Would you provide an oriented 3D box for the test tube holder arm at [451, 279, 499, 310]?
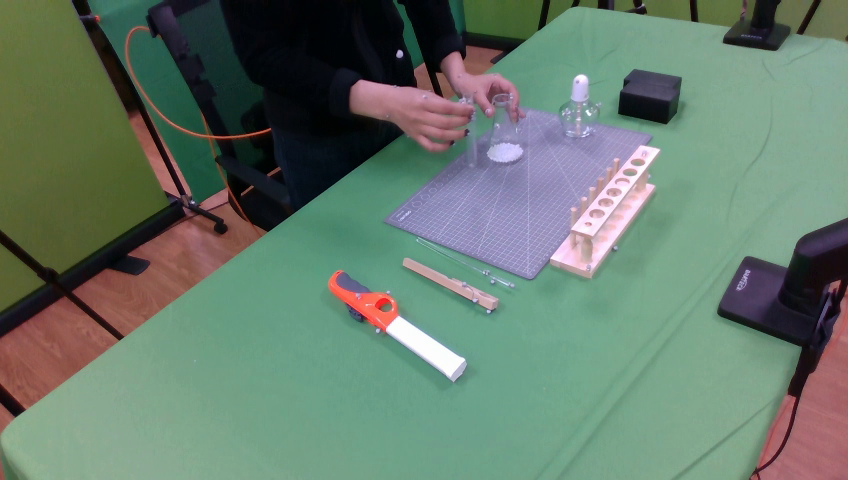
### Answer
[{"bbox_3d":[0.071,0.079,0.882,0.087,0.015,0.010,24,13,34],"label":"test tube holder arm"}]

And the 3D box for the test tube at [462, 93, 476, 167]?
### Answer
[{"bbox_3d":[0.074,-0.175,0.983,0.017,0.151,0.017,-4,51,6],"label":"test tube"}]

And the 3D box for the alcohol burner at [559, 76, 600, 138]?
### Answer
[{"bbox_3d":[0.298,-0.258,1.156,0.078,0.119,0.077,-4,39,4],"label":"alcohol burner"}]

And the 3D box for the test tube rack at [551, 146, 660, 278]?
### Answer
[{"bbox_3d":[0.286,-0.053,0.944,0.066,0.085,0.243,21,49,32],"label":"test tube rack"}]

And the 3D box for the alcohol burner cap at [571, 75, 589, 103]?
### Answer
[{"bbox_3d":[0.294,-0.285,1.132,0.034,0.048,0.033,-5,46,5],"label":"alcohol burner cap"}]

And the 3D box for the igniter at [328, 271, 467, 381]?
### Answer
[{"bbox_3d":[-0.049,0.114,0.854,0.274,0.025,0.057,29,63,37],"label":"igniter"}]

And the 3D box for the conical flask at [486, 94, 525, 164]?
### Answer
[{"bbox_3d":[0.148,-0.208,1.119,0.075,0.122,0.075,-6,40,5],"label":"conical flask"}]

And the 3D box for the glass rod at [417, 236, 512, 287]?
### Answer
[{"bbox_3d":[0.059,0.032,0.945,0.198,0.008,0.008,27,52,38],"label":"glass rod"}]

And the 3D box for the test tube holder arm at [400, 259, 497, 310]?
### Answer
[{"bbox_3d":[0.033,0.064,0.902,0.177,0.015,0.013,23,13,32],"label":"test tube holder arm"}]
